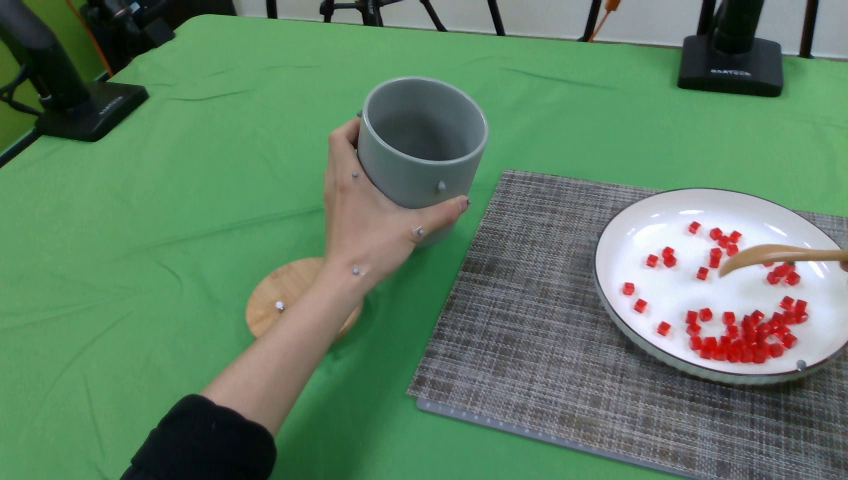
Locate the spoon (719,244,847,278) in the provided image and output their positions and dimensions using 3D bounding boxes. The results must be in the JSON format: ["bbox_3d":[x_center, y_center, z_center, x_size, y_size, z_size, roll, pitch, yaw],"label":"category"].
[{"bbox_3d":[0.287,0.006,0.412,0.042,0.021,0.193,-20,2,-30],"label":"spoon"}]

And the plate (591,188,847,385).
[{"bbox_3d":[0.248,0.037,0.515,0.207,0.039,0.205,-4,45,4],"label":"plate"}]

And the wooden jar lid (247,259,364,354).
[{"bbox_3d":[-0.108,0.062,0.562,0.108,0.021,0.107,-3,46,3],"label":"wooden jar lid"}]

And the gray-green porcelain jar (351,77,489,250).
[{"bbox_3d":[-0.009,-0.061,0.540,0.106,0.127,0.105,7,52,-8],"label":"gray-green porcelain jar"}]
